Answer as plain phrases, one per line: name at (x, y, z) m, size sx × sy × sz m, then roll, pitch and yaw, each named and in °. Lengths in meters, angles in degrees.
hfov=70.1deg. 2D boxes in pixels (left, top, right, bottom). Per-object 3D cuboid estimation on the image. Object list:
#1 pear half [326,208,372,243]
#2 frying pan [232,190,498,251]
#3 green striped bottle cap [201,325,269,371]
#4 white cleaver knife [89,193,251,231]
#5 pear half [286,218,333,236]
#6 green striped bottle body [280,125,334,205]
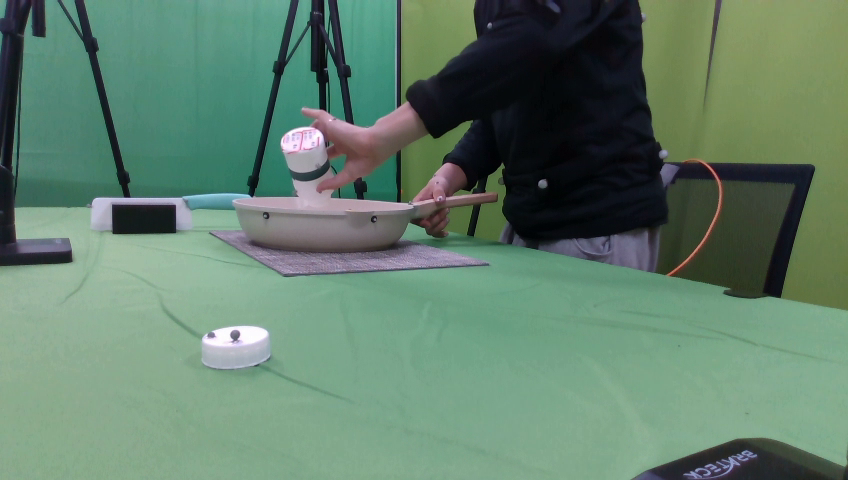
pear half at (-0.128, -0.026, 1.017) m, size 0.076 × 0.056 × 0.109 m, roll 5°, pitch 4°, yaw -18°
frying pan at (-0.073, -0.051, 1.048) m, size 0.490 × 0.102 × 0.305 m, roll -11°, pitch 13°, yaw -27°
green striped bottle cap at (-0.129, 0.073, 0.415) m, size 0.044 × 0.020 × 0.044 m, roll 2°, pitch 8°, yaw 0°
white cleaver knife at (-0.454, -0.052, 1.115) m, size 0.288 × 0.066 × 0.021 m, roll -4°, pitch 14°, yaw -27°
pear half at (-0.197, -0.023, 1.055) m, size 0.088 × 0.031 × 0.070 m, roll -10°, pitch 18°, yaw -44°
green striped bottle body at (-0.174, -0.109, 0.921) m, size 0.063 × 0.119 × 0.063 m, roll -3°, pitch 47°, yaw 3°
